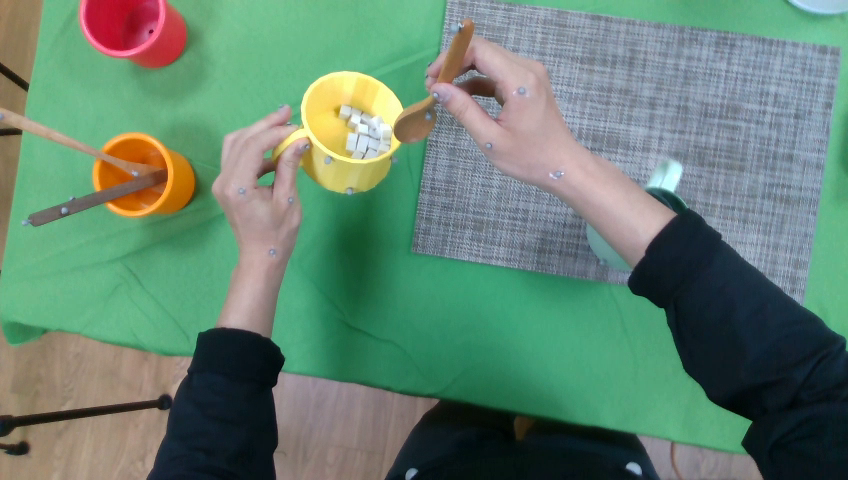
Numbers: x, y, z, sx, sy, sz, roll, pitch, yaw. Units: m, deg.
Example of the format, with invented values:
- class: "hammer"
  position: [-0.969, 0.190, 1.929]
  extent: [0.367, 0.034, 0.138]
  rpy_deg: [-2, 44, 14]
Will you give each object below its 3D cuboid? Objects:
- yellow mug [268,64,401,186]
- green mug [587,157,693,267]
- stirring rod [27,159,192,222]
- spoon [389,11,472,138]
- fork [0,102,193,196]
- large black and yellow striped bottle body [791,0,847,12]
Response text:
- class: "yellow mug"
  position: [-0.089, -0.105, 0.586]
  extent: [0.131, 0.064, 0.099]
  rpy_deg: [-24, 79, -23]
- class: "green mug"
  position: [0.235, -0.031, 0.646]
  extent: [0.092, 0.105, 0.125]
  rpy_deg: [26, 92, 3]
- class: "stirring rod"
  position: [-0.335, -0.057, 0.658]
  extent: [0.176, 0.006, 0.014]
  rpy_deg: [-30, 90, -39]
- class: "spoon"
  position: [0.007, -0.123, 0.479]
  extent: [0.042, 0.193, 0.021]
  rpy_deg: [-10, 83, -16]
- class: "fork"
  position: [-0.350, -0.096, 0.653]
  extent: [0.209, 0.018, 0.028]
  rpy_deg: [26, 88, -41]
- class: "large black and yellow striped bottle body"
  position: [0.450, -0.321, 0.597]
  extent: [0.131, 0.184, 0.130]
  rpy_deg: [0, 90, 3]
